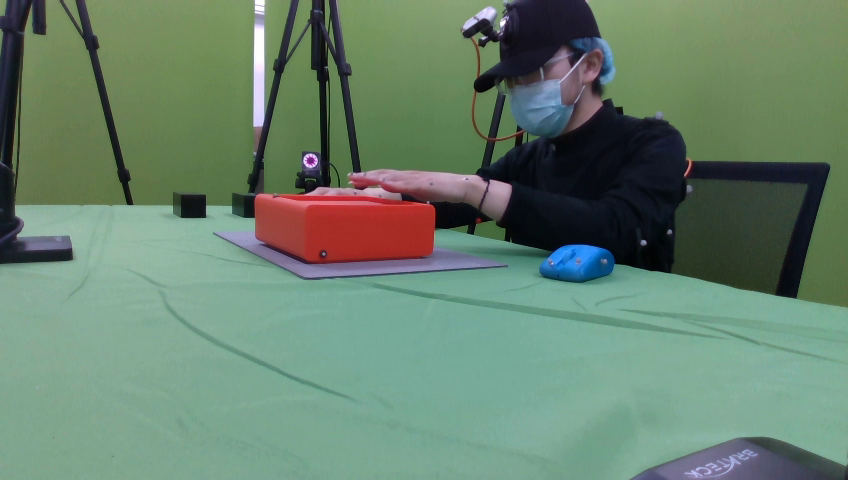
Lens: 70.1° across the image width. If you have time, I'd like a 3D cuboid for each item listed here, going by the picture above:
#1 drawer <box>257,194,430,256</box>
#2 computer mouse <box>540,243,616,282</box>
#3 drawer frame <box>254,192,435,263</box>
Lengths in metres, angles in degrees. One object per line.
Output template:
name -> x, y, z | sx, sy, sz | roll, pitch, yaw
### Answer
drawer -> -0.126, -0.026, 0.906 | 0.195, 0.073, 0.210 | -1, 8, -32
computer mouse -> 0.204, 0.028, 0.797 | 0.062, 0.041, 0.118 | 11, 15, 38
drawer frame -> -0.124, -0.026, 0.904 | 0.203, 0.082, 0.212 | -2, 9, -33
